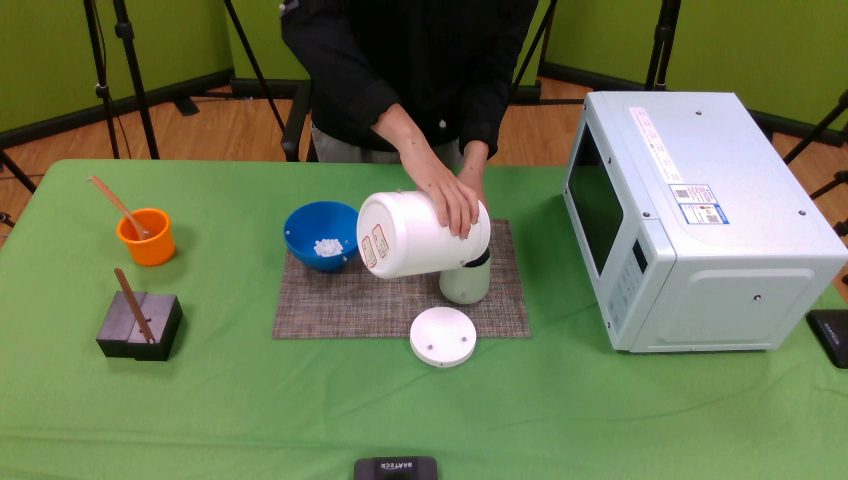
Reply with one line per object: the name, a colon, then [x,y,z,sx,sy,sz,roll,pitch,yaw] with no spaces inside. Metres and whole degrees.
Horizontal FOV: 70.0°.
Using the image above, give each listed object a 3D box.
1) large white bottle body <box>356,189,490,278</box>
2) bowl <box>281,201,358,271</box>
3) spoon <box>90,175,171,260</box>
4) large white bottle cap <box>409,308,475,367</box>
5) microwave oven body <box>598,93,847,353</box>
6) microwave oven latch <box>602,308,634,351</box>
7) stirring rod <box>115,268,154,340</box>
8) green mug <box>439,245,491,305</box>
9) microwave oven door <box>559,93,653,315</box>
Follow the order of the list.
large white bottle body: [0.001,-0.013,0.954,0.185,0.131,0.129,-6,44,-35]
bowl: [-0.187,0.005,1.137,0.151,0.077,0.150,3,46,-3]
spoon: [-0.539,-0.042,1.111,0.021,0.194,0.041,-12,27,53]
large white bottle cap: [0.031,0.166,1.041,0.115,0.018,0.114,2,46,-2]
microwave oven body: [0.475,-0.041,1.109,0.326,0.261,0.438,-1,45,-4]
microwave oven latch: [0.332,0.153,1.044,0.030,0.029,0.078,-1,45,-4]
stirring rod: [-0.479,0.102,0.999,0.014,0.006,0.175,8,32,-49]
green mug: [0.072,0.044,1.101,0.092,0.105,0.124,-6,46,-9]
microwave oven door: [0.327,-0.074,1.123,0.039,0.245,0.353,-1,46,-5]
